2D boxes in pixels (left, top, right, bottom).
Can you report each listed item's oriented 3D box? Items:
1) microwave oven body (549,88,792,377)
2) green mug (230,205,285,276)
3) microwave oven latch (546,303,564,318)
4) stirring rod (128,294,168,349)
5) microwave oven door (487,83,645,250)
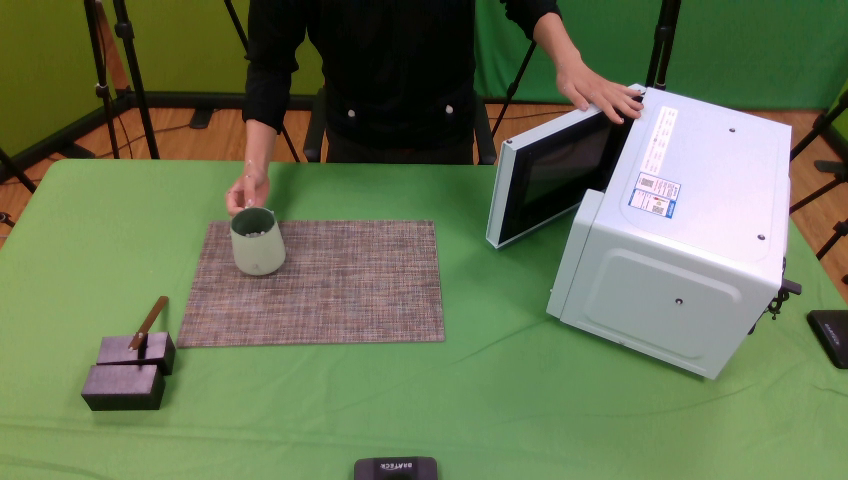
[{"bbox_3d":[0.456,-0.028,1.088,0.325,0.261,0.440,20,47,16],"label":"microwave oven body"},{"bbox_3d":[-0.311,-0.008,1.118,0.092,0.105,0.124,-14,48,-16],"label":"green mug"},{"bbox_3d":[0.242,0.102,1.081,0.030,0.029,0.079,22,48,17],"label":"microwave oven latch"},{"bbox_3d":[-0.451,0.131,0.996,0.014,0.006,0.175,9,21,-10],"label":"stirring rod"},{"bbox_3d":[0.279,-0.146,1.181,0.356,0.245,0.039,-27,52,-26],"label":"microwave oven door"}]
